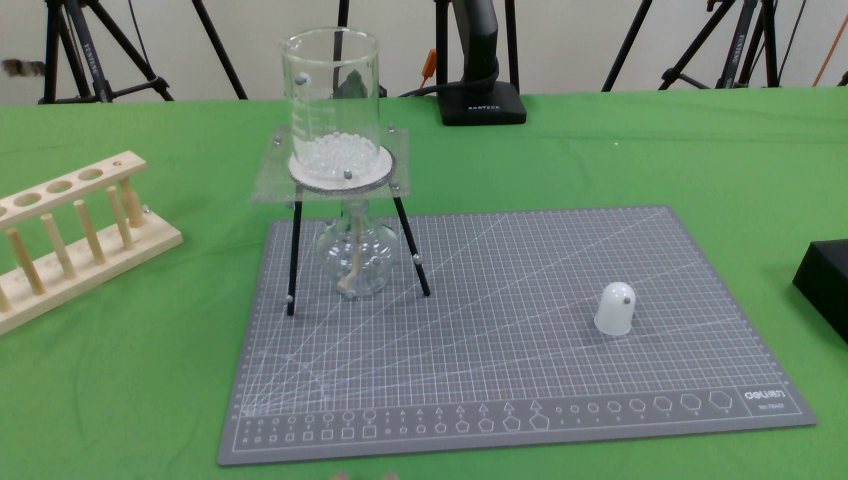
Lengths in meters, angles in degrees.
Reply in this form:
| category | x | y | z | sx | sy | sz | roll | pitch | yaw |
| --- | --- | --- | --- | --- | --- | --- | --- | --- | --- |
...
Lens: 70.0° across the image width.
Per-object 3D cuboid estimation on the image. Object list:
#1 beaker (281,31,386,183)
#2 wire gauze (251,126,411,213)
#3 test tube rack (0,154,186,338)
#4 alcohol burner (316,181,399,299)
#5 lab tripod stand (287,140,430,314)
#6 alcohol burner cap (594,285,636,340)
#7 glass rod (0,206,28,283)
| category | x | y | z | sx | sy | sz | roll | pitch | yaw |
| --- | --- | --- | --- | --- | --- | --- | --- | --- | --- |
| beaker | -0.072 | -0.103 | 0.475 | 0.083 | 0.101 | 0.074 | 23 | 42 | 24 |
| wire gauze | -0.072 | -0.063 | 0.502 | 0.121 | 0.011 | 0.124 | -1 | 40 | -2 |
| test tube rack | -0.353 | 0.012 | 0.552 | 0.066 | 0.086 | 0.242 | 29 | 45 | 32 |
| alcohol burner | -0.061 | -0.004 | 0.552 | 0.078 | 0.120 | 0.077 | 2 | 39 | -1 |
| lab tripod stand | -0.064 | -0.012 | 0.545 | 0.148 | 0.132 | 0.147 | 2 | 36 | -1 |
| alcohol burner cap | 0.169 | 0.060 | 0.530 | 0.034 | 0.048 | 0.033 | 0 | 38 | 0 |
| glass rod | -0.375 | -0.047 | 0.520 | 0.008 | 0.201 | 0.008 | 1 | 30 | 0 |
